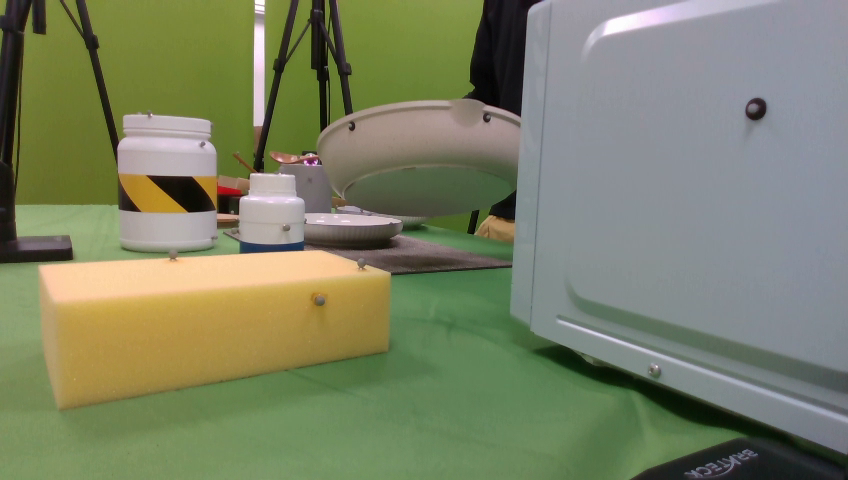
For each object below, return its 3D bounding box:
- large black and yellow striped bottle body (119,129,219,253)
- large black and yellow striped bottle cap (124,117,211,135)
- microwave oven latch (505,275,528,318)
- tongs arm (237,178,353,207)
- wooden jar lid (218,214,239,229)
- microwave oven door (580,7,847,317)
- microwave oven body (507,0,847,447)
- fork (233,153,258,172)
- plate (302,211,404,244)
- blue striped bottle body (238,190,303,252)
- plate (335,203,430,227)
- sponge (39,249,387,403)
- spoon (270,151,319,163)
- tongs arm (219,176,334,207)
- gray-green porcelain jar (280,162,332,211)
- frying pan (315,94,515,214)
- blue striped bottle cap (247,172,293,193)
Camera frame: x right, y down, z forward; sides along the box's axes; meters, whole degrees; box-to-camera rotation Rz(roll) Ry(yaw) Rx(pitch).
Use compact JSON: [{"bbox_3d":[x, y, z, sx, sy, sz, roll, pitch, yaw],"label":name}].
[{"bbox_3d":[-0.367,-0.080,0.876,0.131,0.184,0.130,2,7,0],"label":"large black and yellow striped bottle body"},{"bbox_3d":[-0.366,-0.163,0.866,0.115,0.019,0.115,3,7,0],"label":"large black and yellow striped bottle cap"},{"bbox_3d":[0.100,0.041,0.472,0.079,0.029,0.030,-2,8,-31],"label":"microwave oven latch"},{"bbox_3d":[-0.242,-0.095,1.374,0.387,0.026,0.050,9,-1,-37],"label":"tongs arm"},{"bbox_3d":[-0.404,-0.037,1.169,0.108,0.020,0.108,3,7,0],"label":"wooden jar lid"},{"bbox_3d":[0.295,-0.067,0.570,0.358,0.243,0.039,-3,9,-31],"label":"microwave oven door"},{"bbox_3d":[0.331,-0.042,0.425,0.444,0.260,0.324,-2,8,-31],"label":"microwave oven body"},{"bbox_3d":[-0.396,-0.143,1.486,0.028,0.018,0.208,21,-25,45],"label":"fork"},{"bbox_3d":[-0.139,-0.022,1.021,0.209,0.038,0.209,2,8,0],"label":"plate"},{"bbox_3d":[-0.153,-0.007,0.606,0.063,0.120,0.063,2,7,0],"label":"blue striped bottle body"},{"bbox_3d":[-0.089,-0.053,1.309,0.208,0.039,0.207,2,8,0],"label":"plate"},{"bbox_3d":[-0.142,0.047,0.420,0.208,0.061,0.117,-3,8,-36],"label":"sponge"},{"bbox_3d":[-0.211,-0.167,1.221,0.194,0.021,0.041,-2,31,-13],"label":"spoon"},{"bbox_3d":[-0.286,-0.104,1.445,0.389,0.027,0.028,9,-4,-23],"label":"tongs arm"},{"bbox_3d":[-0.238,-0.092,1.221,0.106,0.126,0.106,2,8,0],"label":"gray-green porcelain jar"},{"bbox_3d":[0.101,-0.111,0.839,0.490,0.102,0.306,-7,-10,-19],"label":"frying pan"},{"bbox_3d":[-0.152,-0.057,0.598,0.044,0.020,0.044,3,6,0],"label":"blue striped bottle cap"}]
